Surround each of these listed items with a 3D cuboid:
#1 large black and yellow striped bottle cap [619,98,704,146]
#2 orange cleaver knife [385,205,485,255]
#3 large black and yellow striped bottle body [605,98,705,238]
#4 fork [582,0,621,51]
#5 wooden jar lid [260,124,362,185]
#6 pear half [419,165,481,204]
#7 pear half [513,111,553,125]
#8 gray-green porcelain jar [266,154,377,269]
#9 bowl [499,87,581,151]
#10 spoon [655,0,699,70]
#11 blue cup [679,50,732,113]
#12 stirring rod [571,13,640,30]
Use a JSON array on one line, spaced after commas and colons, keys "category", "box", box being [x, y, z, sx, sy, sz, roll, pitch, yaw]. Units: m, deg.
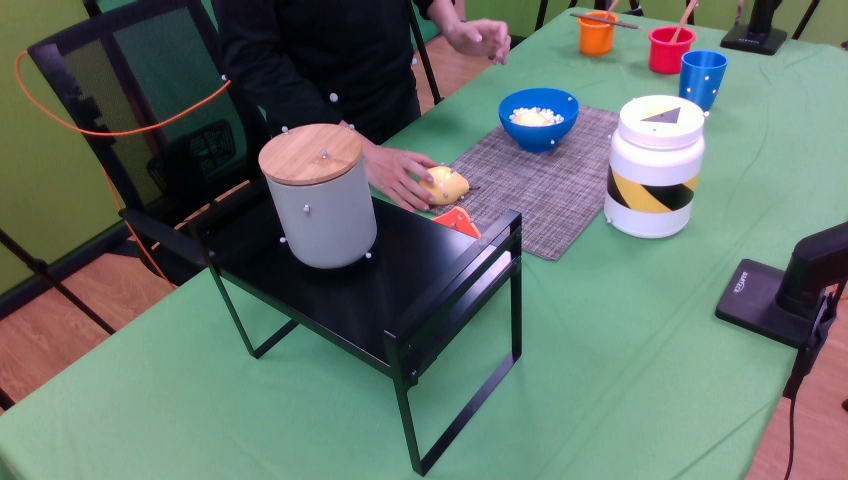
[{"category": "large black and yellow striped bottle cap", "box": [0.341, -0.172, 0.873, 0.115, 0.019, 0.114, -4, 39, 4]}, {"category": "orange cleaver knife", "box": [0.012, -0.010, 0.942, 0.012, 0.077, 0.210, -36, 19, -35]}, {"category": "large black and yellow striped bottle body", "box": [0.352, -0.110, 0.928, 0.131, 0.185, 0.130, -5, 41, 5]}, {"category": "fork", "box": [0.446, -0.539, 1.438, 0.207, 0.019, 0.028, -57, 36, 12]}, {"category": "wooden jar lid", "box": [-0.119, -0.088, 0.644, 0.108, 0.021, 0.108, -4, 40, 3]}, {"category": "pear half", "box": [0.046, -0.103, 1.067, 0.110, 0.056, 0.076, -3, 46, 0]}, {"category": "pear half", "box": [0.212, -0.227, 1.152, 0.088, 0.031, 0.070, 7, 43, 10]}, {"category": "gray-green porcelain jar", "box": [-0.112, -0.039, 0.685, 0.106, 0.127, 0.105, -4, 40, 4]}, {"category": "bowl", "box": [0.220, -0.223, 1.155, 0.151, 0.077, 0.150, -4, 40, 4]}, {"category": "spoon", "box": [0.567, -0.463, 1.337, 0.041, 0.022, 0.193, 30, 96, 38]}, {"category": "blue cup", "box": [0.545, -0.309, 1.193, 0.092, 0.100, 0.092, -4, 39, 3]}, {"category": "stirring rod", "box": [0.419, -0.508, 1.404, 0.174, 0.006, 0.014, 28, 55, 35]}]
